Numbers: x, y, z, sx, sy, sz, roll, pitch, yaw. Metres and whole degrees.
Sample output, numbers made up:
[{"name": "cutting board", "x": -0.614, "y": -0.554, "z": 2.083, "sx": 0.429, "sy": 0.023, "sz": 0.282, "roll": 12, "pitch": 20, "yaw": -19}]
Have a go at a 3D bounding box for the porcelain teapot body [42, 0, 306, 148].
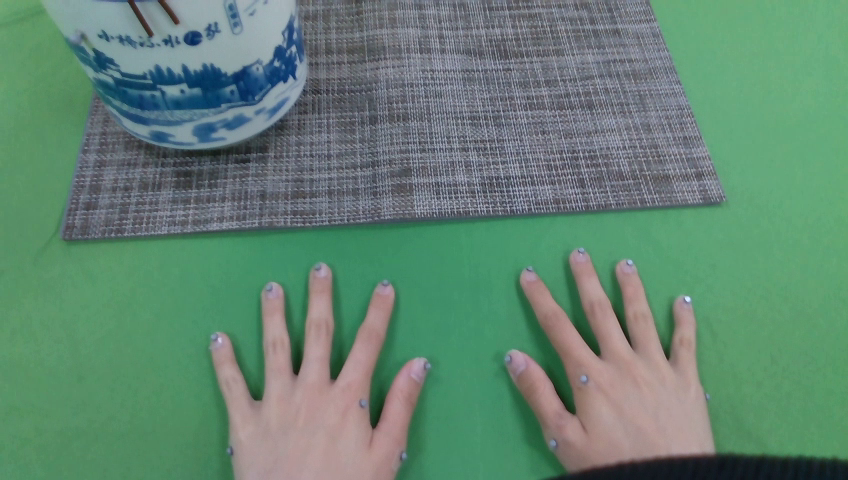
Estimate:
[{"name": "porcelain teapot body", "x": -0.161, "y": -0.194, "z": 0.374, "sx": 0.145, "sy": 0.227, "sz": 0.203, "roll": -9, "pitch": 61, "yaw": -7}]
